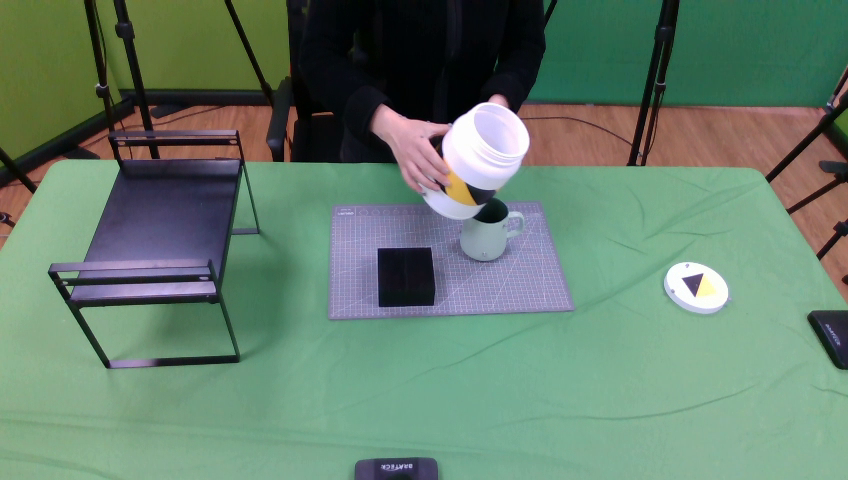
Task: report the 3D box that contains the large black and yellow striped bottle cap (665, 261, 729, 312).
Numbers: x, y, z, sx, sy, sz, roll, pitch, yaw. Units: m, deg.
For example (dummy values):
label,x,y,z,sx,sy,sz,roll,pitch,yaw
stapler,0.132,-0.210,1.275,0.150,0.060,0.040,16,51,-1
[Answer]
label,x,y,z,sx,sy,sz,roll,pitch,yaw
large black and yellow striped bottle cap,0.518,0.087,1.152,0.115,0.019,0.114,2,47,-2

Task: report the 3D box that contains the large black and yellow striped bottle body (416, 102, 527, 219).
label,x,y,z,sx,sy,sz,roll,pitch,yaw
large black and yellow striped bottle body,0.080,-0.134,1.027,0.131,0.184,0.130,14,56,-21

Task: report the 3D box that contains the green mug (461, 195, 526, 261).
label,x,y,z,sx,sy,sz,roll,pitch,yaw
green mug,0.135,-0.024,1.168,0.125,0.105,0.092,-7,47,-10
